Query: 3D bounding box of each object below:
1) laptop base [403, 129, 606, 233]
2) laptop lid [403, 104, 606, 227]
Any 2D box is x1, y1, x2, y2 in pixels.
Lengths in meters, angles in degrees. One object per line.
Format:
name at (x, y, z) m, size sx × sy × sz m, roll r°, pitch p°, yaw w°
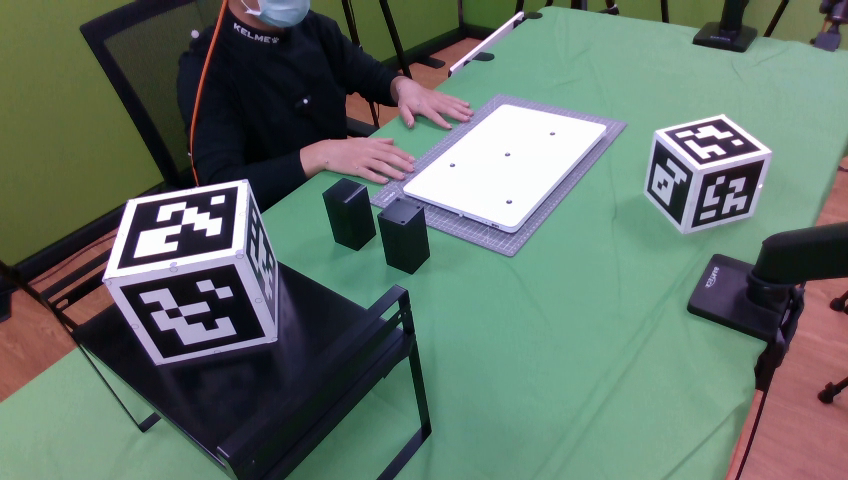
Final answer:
laptop base at (0.156, -0.144, 1.117) m, size 0.233 × 0.023 × 0.355 m, roll 20°, pitch 47°, yaw 32°
laptop lid at (0.153, -0.154, 1.110) m, size 0.239 × 0.013 × 0.358 m, roll 22°, pitch 48°, yaw 33°
